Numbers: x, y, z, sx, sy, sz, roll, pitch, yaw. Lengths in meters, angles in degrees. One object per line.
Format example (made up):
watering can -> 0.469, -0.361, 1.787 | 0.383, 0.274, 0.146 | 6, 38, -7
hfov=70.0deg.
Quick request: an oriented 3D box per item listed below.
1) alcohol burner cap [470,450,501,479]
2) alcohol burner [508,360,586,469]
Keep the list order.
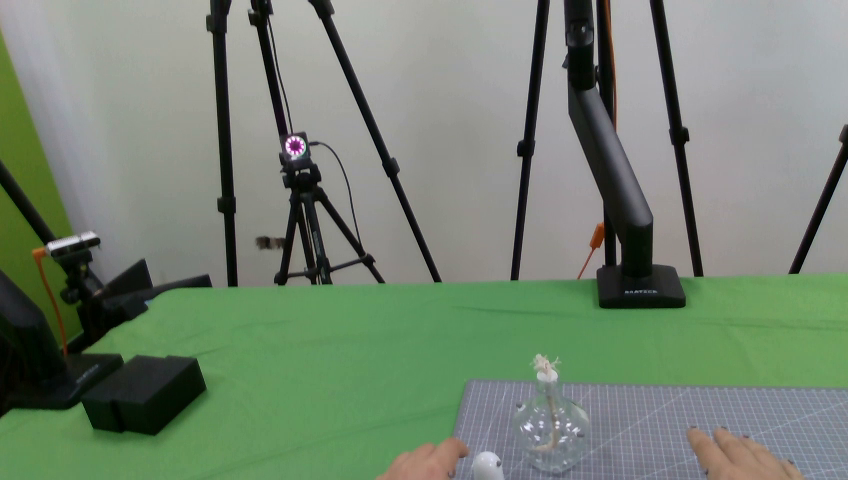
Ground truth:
alcohol burner cap -> 0.060, 0.226, 0.590 | 0.034, 0.048, 0.033 | -6, 24, 3
alcohol burner -> 0.124, 0.170, 0.611 | 0.078, 0.120, 0.077 | -5, 24, 3
